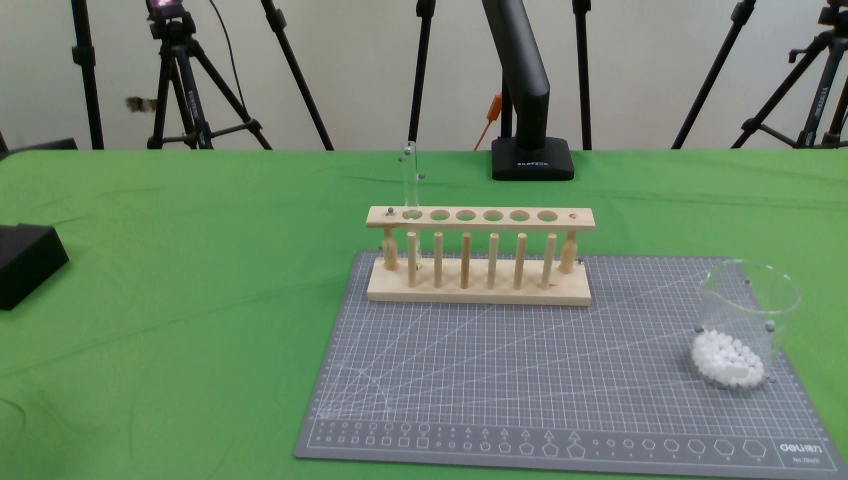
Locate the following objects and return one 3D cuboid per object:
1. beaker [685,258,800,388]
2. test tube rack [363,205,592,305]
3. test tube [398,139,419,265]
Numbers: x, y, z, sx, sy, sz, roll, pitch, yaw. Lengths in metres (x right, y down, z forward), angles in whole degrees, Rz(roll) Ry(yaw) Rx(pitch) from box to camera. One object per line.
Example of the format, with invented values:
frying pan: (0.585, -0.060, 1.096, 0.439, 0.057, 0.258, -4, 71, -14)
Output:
beaker: (0.280, 0.078, 0.549, 0.084, 0.101, 0.073, 1, 35, 6)
test tube rack: (0.056, 0.016, 0.663, 0.242, 0.086, 0.066, 1, 35, 5)
test tube: (-0.016, -0.037, 0.656, 0.017, 0.151, 0.017, -2, 32, 1)
